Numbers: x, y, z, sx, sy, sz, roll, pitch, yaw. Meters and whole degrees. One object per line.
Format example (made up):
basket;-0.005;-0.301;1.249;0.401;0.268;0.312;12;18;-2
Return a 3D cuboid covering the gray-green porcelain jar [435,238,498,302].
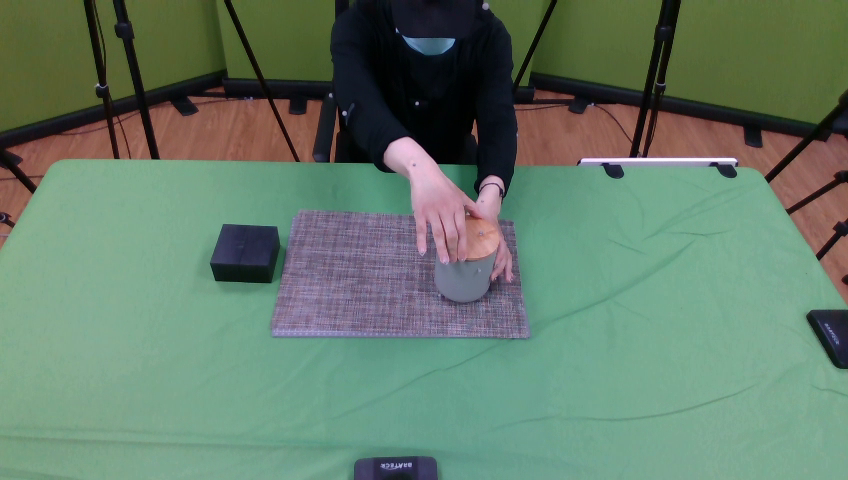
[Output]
gray-green porcelain jar;0.073;0.041;1.083;0.106;0.127;0.105;2;46;-2

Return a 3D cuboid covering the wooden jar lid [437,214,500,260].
wooden jar lid;0.076;-0.003;1.038;0.108;0.021;0.107;3;44;-2
